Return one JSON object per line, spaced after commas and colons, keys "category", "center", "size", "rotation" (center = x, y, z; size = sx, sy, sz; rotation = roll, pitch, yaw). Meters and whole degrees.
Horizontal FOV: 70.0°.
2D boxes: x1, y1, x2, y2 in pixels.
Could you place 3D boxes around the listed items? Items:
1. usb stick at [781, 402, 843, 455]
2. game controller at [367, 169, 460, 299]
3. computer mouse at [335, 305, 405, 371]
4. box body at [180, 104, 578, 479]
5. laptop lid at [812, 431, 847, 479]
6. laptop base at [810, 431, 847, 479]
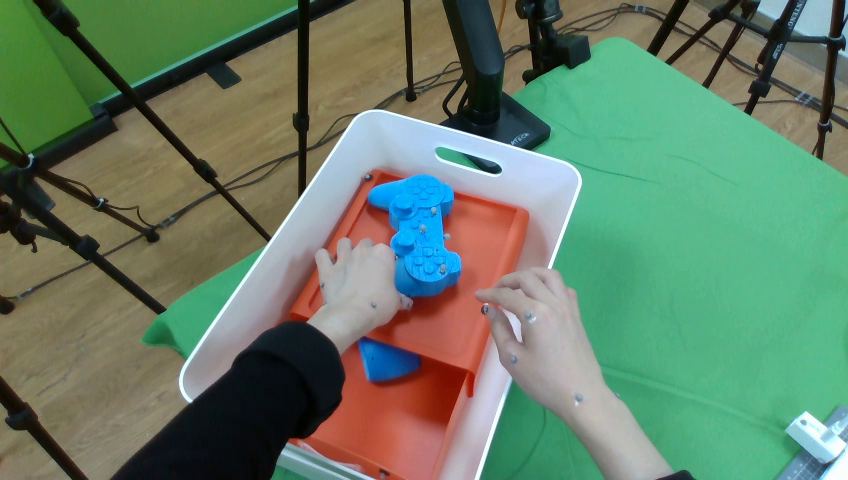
{"category": "usb stick", "center": [0.387, 0.191, 0.595], "size": [0.021, 0.027, 0.058], "rotation": [-31, 64, -24]}
{"category": "game controller", "center": [-0.014, -0.013, 0.647], "size": [0.097, 0.052, 0.153], "rotation": [-1, 55, -4]}
{"category": "computer mouse", "center": [-0.057, 0.098, 0.652], "size": [0.063, 0.041, 0.116], "rotation": [-7, 16, 6]}
{"category": "box body", "center": [-0.021, 0.063, 0.615], "size": [0.253, 0.162, 0.362], "rotation": [18, 58, 12]}
{"category": "laptop lid", "center": [0.458, 0.352, 0.486], "size": [0.241, 0.013, 0.353], "rotation": [-37, 63, -19]}
{"category": "laptop base", "center": [0.460, 0.357, 0.497], "size": [0.235, 0.023, 0.351], "rotation": [-39, 64, -19]}
